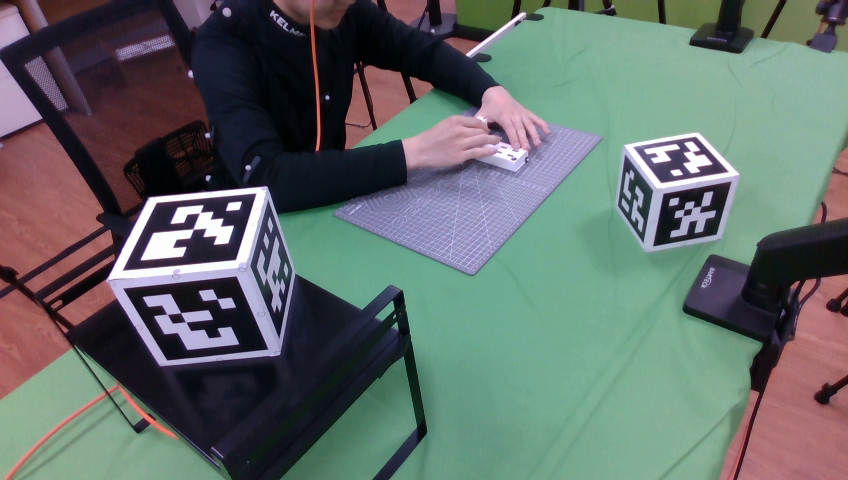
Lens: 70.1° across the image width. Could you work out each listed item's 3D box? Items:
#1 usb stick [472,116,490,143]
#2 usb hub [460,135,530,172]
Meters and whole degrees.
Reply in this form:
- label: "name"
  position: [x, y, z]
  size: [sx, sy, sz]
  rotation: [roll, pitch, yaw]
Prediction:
- label: "usb stick"
  position: [0.108, -0.203, 1.138]
  size: [0.021, 0.059, 0.027]
  rotation: [24, 62, 30]
- label: "usb hub"
  position: [0.132, -0.164, 1.138]
  size: [0.124, 0.025, 0.049]
  rotation: [22, 49, 30]
